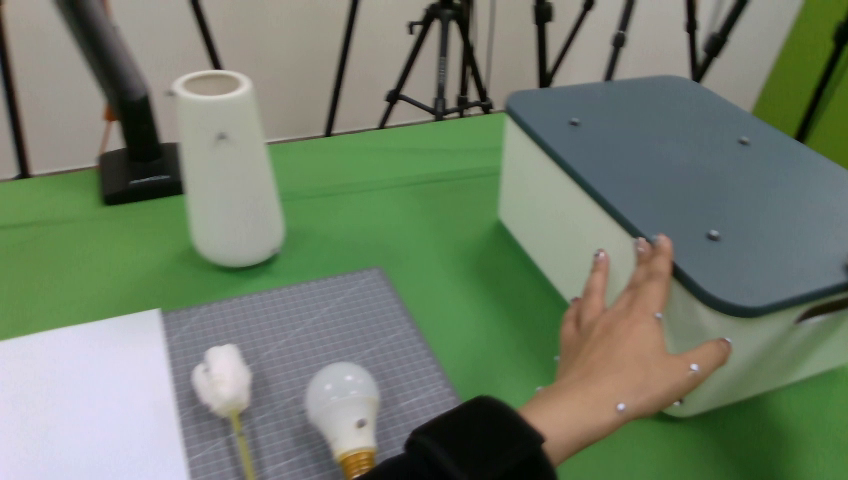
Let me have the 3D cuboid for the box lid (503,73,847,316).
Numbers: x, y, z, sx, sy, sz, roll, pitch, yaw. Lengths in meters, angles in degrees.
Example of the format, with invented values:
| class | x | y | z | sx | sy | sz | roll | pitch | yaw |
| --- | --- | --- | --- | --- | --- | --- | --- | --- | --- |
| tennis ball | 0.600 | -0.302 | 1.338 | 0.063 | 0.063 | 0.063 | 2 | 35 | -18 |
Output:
| class | x | y | z | sx | sy | sz | roll | pitch | yaw |
| --- | --- | --- | --- | --- | --- | --- | --- | --- | --- |
| box lid | 0.266 | -0.074 | 0.592 | 0.264 | 0.015 | 0.367 | -12 | 41 | -18 |

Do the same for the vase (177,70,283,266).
| class | x | y | z | sx | sy | sz | roll | pitch | yaw |
| --- | --- | --- | --- | --- | --- | --- | --- | --- | --- |
| vase | -0.205 | -0.070 | 0.634 | 0.098 | 0.201 | 0.097 | 2 | 36 | -1 |

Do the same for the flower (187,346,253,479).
| class | x | y | z | sx | sy | sz | roll | pitch | yaw |
| --- | --- | --- | --- | --- | --- | --- | --- | --- | --- |
| flower | -0.107 | 0.213 | 0.418 | 0.044 | 0.038 | 0.357 | -35 | 50 | -2 |

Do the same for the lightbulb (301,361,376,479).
| class | x | y | z | sx | sy | sz | roll | pitch | yaw |
| --- | --- | --- | --- | --- | --- | --- | --- | --- | --- |
| lightbulb | -0.063 | 0.147 | 0.480 | 0.060 | 0.060 | 0.106 | -9 | 54 | -18 |

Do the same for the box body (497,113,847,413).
| class | x | y | z | sx | sy | sz | roll | pitch | yaw |
| --- | --- | --- | --- | --- | --- | --- | --- | --- | --- |
| box body | 0.263 | -0.016 | 0.649 | 0.255 | 0.162 | 0.359 | -11 | 39 | -19 |
